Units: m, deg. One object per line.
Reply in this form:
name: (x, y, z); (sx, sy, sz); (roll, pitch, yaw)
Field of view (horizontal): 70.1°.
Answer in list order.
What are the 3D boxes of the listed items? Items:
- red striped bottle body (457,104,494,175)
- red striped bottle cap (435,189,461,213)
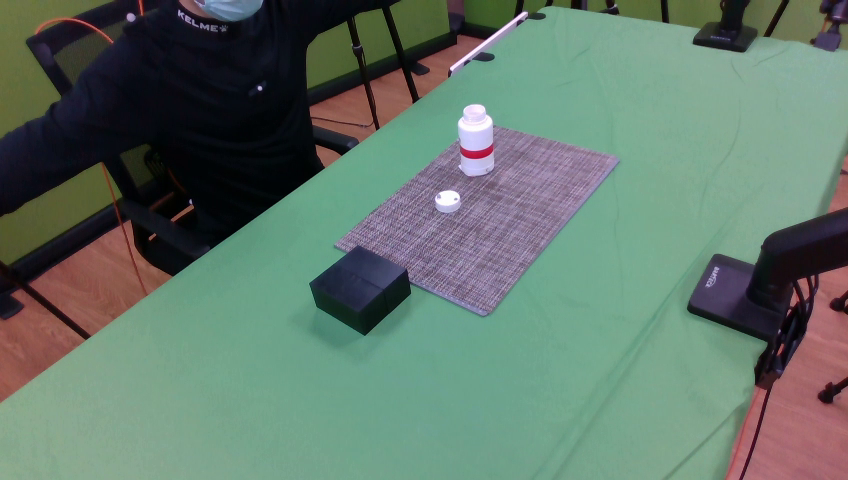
red striped bottle body: (0.093, -0.182, 1.085); (0.063, 0.120, 0.062); (-4, 41, 4)
red striped bottle cap: (0.042, -0.068, 1.040); (0.044, 0.018, 0.044); (-5, 46, 6)
